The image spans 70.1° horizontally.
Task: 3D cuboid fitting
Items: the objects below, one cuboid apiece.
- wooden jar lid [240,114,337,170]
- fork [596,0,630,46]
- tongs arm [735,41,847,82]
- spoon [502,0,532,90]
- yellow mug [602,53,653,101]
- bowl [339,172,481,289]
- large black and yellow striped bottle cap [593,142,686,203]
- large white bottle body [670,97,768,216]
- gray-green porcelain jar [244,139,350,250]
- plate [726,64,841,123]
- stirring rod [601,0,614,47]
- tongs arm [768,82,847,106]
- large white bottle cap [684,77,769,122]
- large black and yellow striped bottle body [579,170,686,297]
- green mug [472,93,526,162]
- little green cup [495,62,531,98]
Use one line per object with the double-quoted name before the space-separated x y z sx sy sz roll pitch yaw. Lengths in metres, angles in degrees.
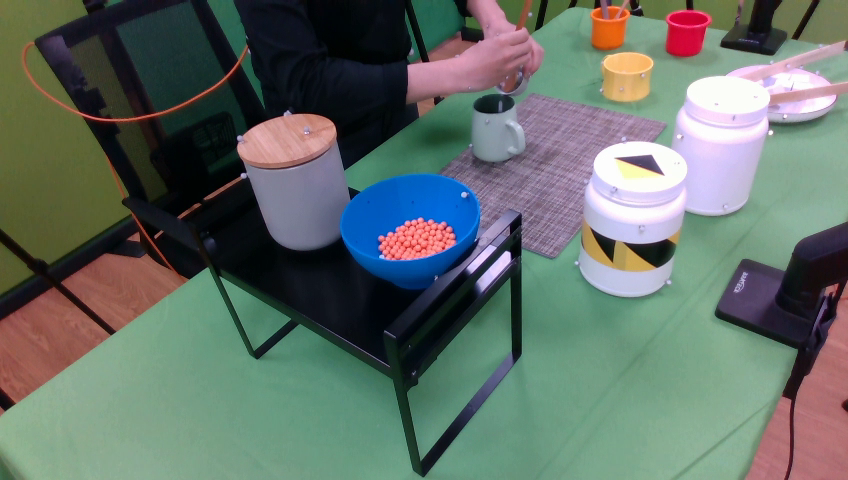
"wooden jar lid" -0.149 -0.106 0.673 0.108 0.021 0.108 -6 38 5
"fork" 0.481 -0.556 1.452 0.028 0.019 0.207 40 103 39
"tongs arm" 0.712 -0.332 1.194 0.386 0.026 0.050 -18 45 -16
"spoon" 0.156 -0.329 1.024 0.022 0.194 0.041 -9 62 -6
"yellow mug" 0.423 -0.354 1.292 0.100 0.064 0.129 -23 41 -16
"bowl" -0.011 0.001 0.660 0.151 0.077 0.150 -5 41 5
"large black and yellow striped bottle cap" 0.280 -0.090 0.786 0.115 0.019 0.114 -5 41 5
"large white bottle body" 0.458 -0.146 0.952 0.130 0.185 0.130 -4 40 4
"gray-green porcelain jar" -0.143 -0.060 0.714 0.106 0.127 0.105 -4 41 4
"plate" 0.695 -0.282 1.189 0.207 0.039 0.206 -4 40 4
"stirring rod" 0.439 -0.552 1.463 0.014 0.006 0.175 -7 83 3
"tongs arm" 0.738 -0.282 1.134 0.388 0.028 0.028 -9 46 -5
"large white bottle cap" 0.448 -0.209 0.898 0.115 0.018 0.114 -4 40 4
"large black and yellow striped bottle body" 0.287 -0.027 0.841 0.131 0.185 0.130 -4 41 4
"green mug" 0.144 -0.202 1.122 0.093 0.105 0.124 -29 45 -23
"little green cup" 0.166 -0.294 1.118 0.039 0.061 0.061 19 19 -44
